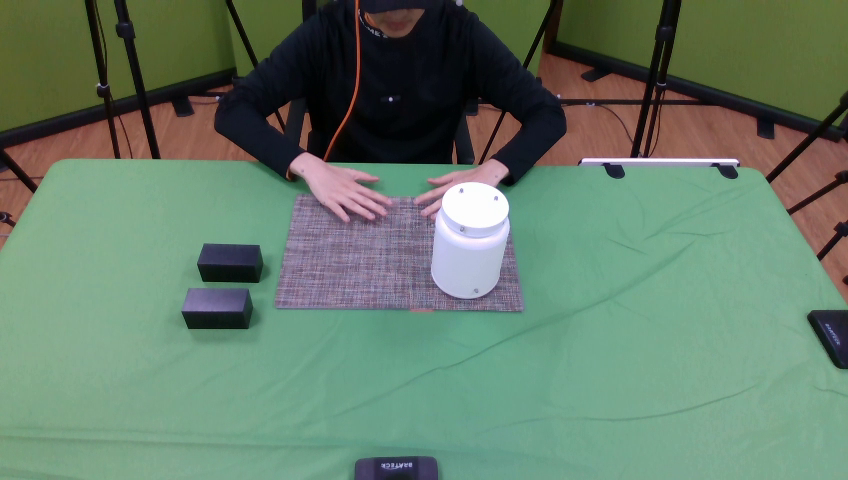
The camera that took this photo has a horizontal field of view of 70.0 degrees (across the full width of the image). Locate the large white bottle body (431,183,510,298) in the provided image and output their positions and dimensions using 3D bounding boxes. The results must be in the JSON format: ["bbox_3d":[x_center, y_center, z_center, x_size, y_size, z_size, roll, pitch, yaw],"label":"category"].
[{"bbox_3d":[0.082,0.000,1.084,0.131,0.185,0.130,2,47,-2],"label":"large white bottle body"}]

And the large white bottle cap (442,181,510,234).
[{"bbox_3d":[0.087,-0.057,1.022,0.115,0.018,0.114,2,47,-2],"label":"large white bottle cap"}]
